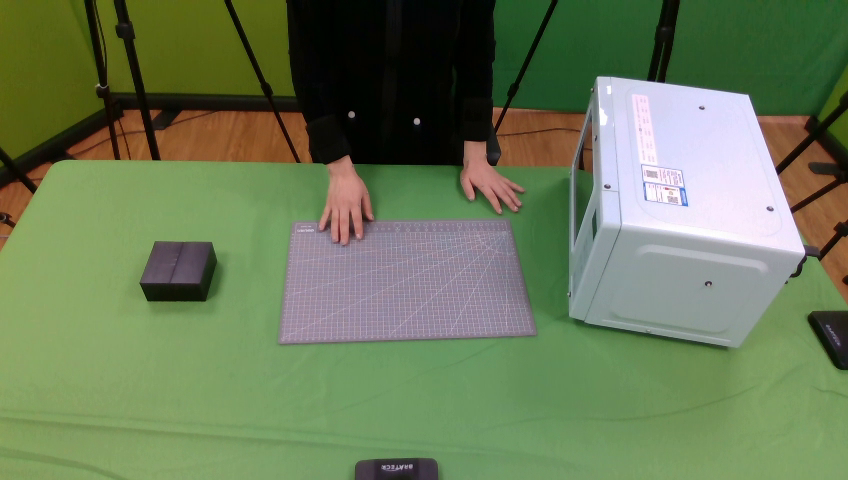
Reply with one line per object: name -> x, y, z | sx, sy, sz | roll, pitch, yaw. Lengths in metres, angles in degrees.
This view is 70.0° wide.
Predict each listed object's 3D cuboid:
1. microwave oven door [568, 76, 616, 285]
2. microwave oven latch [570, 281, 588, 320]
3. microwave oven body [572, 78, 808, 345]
microwave oven door -> 0.319, -0.119, 1.161 | 0.039, 0.245, 0.354 | 9, 46, 5
microwave oven latch -> 0.276, 0.105, 1.082 | 0.030, 0.029, 0.079 | 10, 45, 6
microwave oven body -> 0.456, -0.063, 1.125 | 0.326, 0.261, 0.439 | 8, 45, 5
